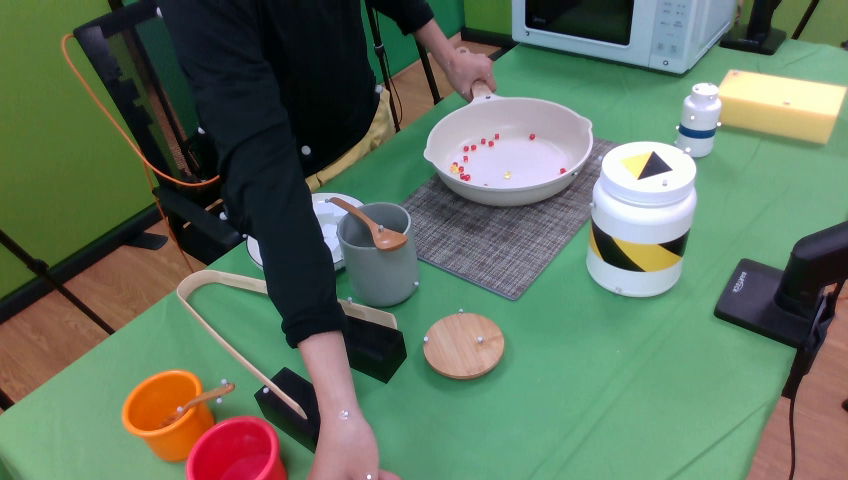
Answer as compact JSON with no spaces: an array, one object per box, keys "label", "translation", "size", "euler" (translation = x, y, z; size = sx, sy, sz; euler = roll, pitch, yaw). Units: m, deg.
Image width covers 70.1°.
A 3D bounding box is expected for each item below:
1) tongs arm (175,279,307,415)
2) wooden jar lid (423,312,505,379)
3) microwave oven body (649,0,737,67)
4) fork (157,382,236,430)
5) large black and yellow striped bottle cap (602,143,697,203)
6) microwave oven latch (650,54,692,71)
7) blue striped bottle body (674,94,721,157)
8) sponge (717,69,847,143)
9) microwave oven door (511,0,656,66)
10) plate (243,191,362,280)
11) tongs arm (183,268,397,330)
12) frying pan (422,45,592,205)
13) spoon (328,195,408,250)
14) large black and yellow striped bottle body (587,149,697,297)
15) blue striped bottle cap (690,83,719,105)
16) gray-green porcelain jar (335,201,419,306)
[{"label":"tongs arm","translation":[-0.255,0.129,0.798],"size":[0.028,0.028,0.384],"euler":[-39,39,-25]},{"label":"wooden jar lid","translation":[0.053,0.142,0.801],"size":[0.108,0.021,0.108],"euler":[-5,40,4]},{"label":"microwave oven body","translation":[0.475,-0.602,1.411],"size":[0.438,0.261,0.327],"euler":[23,50,32]},{"label":"fork","translation":[-0.262,0.189,0.690],"size":[0.018,0.206,0.028],"euler":[49,43,-7]},{"label":"large black and yellow striped bottle cap","translation":[0.289,-0.088,0.778],"size":[0.115,0.019,0.114],"euler":[-5,39,4]},{"label":"microwave oven latch","translation":[0.530,-0.386,1.301],"size":[0.078,0.029,0.030],"euler":[23,50,32]},{"label":"blue striped bottle body","translation":[0.486,-0.213,1.071],"size":[0.063,0.121,0.063],"euler":[-4,41,4]},{"label":"sponge","translation":[0.663,-0.256,1.142],"size":[0.205,0.061,0.118],"euler":[19,47,28]},{"label":"microwave oven door","translation":[0.350,-0.539,1.348],"size":[0.353,0.245,0.039],"euler":[24,50,31]},{"label":"plate","translation":[-0.187,-0.005,0.992],"size":[0.207,0.039,0.206],"euler":[-4,41,4]},{"label":"tongs arm","translation":[-0.203,0.084,0.846],"size":[0.382,0.026,0.051],"euler":[11,42,35]},{"label":"frying pan","translation":[0.130,-0.238,1.152],"size":[0.307,0.103,0.484],"euler":[-10,50,-5]},{"label":"spoon","translation":[-0.083,-0.030,0.829],"size":[0.042,0.022,0.192],"euler":[-30,42,-22]},{"label":"large black and yellow striped bottle body","translation":[0.298,-0.026,0.835],"size":[0.131,0.185,0.130],"euler":[-4,41,4]},{"label":"blue striped bottle cap","translation":[0.482,-0.251,1.038],"size":[0.044,0.021,0.044],"euler":[-5,39,5]},{"label":"gray-green porcelain jar","translation":[-0.064,0.023,0.872],"size":[0.106,0.127,0.105],"euler":[-4,41,4]}]
